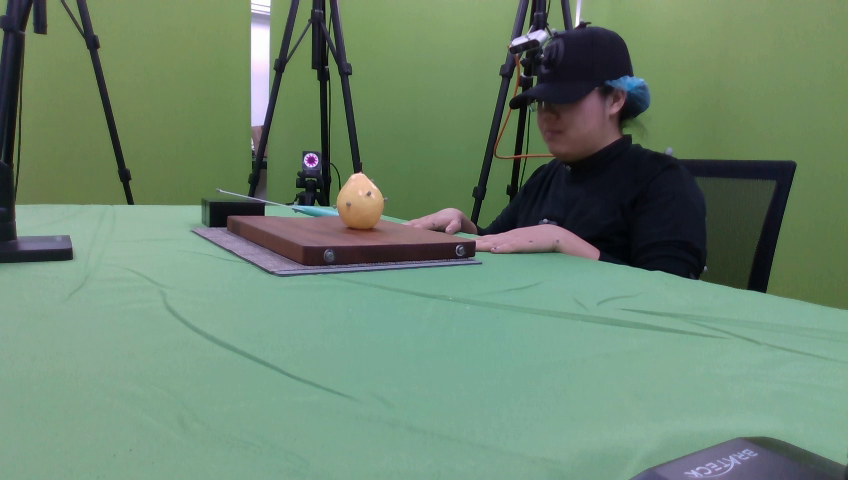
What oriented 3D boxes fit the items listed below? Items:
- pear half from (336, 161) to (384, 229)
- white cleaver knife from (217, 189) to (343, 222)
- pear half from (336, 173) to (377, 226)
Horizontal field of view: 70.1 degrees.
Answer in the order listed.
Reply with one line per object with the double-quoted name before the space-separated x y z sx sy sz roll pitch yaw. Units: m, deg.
"pear half" -0.099 -0.072 0.972 0.077 0.110 0.055 -7 11 -31
"white cleaver knife" -0.275 -0.066 1.233 0.288 0.021 0.065 11 6 -29
"pear half" -0.116 -0.067 1.004 0.071 0.088 0.031 -11 13 -30
